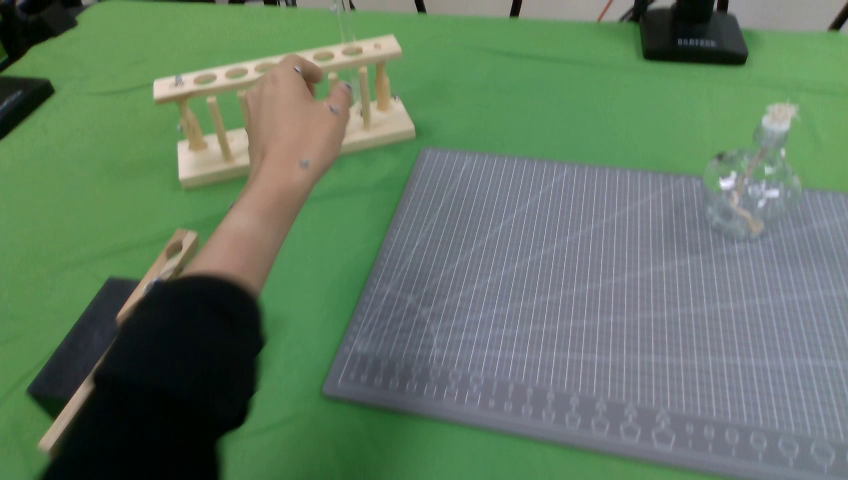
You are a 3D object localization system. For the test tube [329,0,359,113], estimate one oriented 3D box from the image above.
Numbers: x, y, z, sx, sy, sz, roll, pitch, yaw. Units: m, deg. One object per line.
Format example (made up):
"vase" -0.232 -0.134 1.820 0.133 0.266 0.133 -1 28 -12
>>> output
"test tube" -0.079 -0.196 0.613 0.017 0.152 0.017 -4 42 4

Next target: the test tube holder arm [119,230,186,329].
"test tube holder arm" -0.197 0.028 0.445 0.010 0.015 0.087 8 48 6

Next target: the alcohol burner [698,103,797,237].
"alcohol burner" 0.275 -0.061 0.505 0.078 0.120 0.077 -1 44 1

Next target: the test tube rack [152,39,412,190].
"test tube rack" -0.139 -0.131 0.621 0.243 0.086 0.066 -15 46 -11

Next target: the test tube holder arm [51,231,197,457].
"test tube holder arm" -0.199 0.061 0.415 0.013 0.015 0.177 7 47 5
